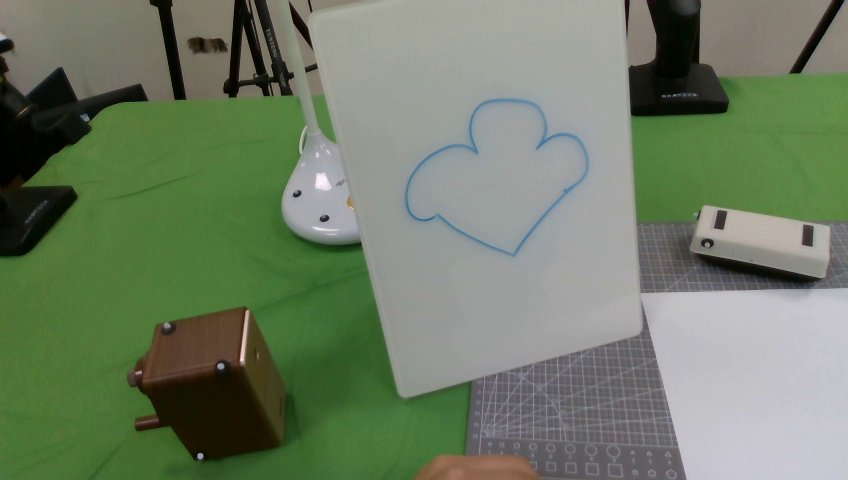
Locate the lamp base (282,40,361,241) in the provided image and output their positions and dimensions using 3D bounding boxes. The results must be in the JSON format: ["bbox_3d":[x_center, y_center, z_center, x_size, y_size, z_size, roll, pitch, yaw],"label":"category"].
[{"bbox_3d":[-0.102,-0.116,0.661,0.160,0.182,0.177,-33,44,-26],"label":"lamp base"}]

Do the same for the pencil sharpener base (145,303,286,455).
[{"bbox_3d":[-0.157,0.110,0.466,0.077,0.108,0.060,-11,41,-2],"label":"pencil sharpener base"}]

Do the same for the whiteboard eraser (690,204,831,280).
[{"bbox_3d":[0.310,0.002,0.560,0.112,0.042,0.055,14,46,23],"label":"whiteboard eraser"}]

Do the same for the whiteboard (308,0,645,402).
[{"bbox_3d":[0.047,-0.054,0.515,0.217,0.307,0.142,-13,22,-5],"label":"whiteboard"}]

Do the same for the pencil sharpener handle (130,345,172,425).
[{"bbox_3d":[-0.208,0.112,0.453,0.030,0.068,0.035,-11,29,-2],"label":"pencil sharpener handle"}]
